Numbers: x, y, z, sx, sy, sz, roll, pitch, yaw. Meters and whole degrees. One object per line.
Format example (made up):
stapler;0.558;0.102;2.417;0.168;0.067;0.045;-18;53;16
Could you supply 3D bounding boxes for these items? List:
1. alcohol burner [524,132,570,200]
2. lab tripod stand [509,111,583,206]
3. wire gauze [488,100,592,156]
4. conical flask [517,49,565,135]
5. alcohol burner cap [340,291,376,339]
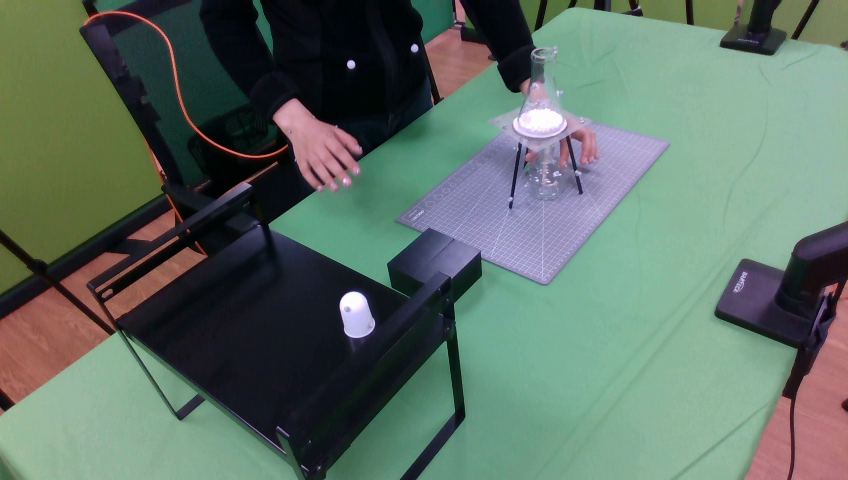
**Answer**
alcohol burner;0.208;-0.128;1.019;0.078;0.119;0.077;-5;39;5
lab tripod stand;0.198;-0.139;1.019;0.148;0.132;0.147;-3;39;3
wire gauze;0.185;-0.187;0.974;0.122;0.011;0.124;-28;47;-22
conical flask;0.183;-0.231;0.936;0.075;0.122;0.075;-4;40;4
alcohol burner cap;-0.067;0.072;0.605;0.034;0.048;0.033;-5;41;5
